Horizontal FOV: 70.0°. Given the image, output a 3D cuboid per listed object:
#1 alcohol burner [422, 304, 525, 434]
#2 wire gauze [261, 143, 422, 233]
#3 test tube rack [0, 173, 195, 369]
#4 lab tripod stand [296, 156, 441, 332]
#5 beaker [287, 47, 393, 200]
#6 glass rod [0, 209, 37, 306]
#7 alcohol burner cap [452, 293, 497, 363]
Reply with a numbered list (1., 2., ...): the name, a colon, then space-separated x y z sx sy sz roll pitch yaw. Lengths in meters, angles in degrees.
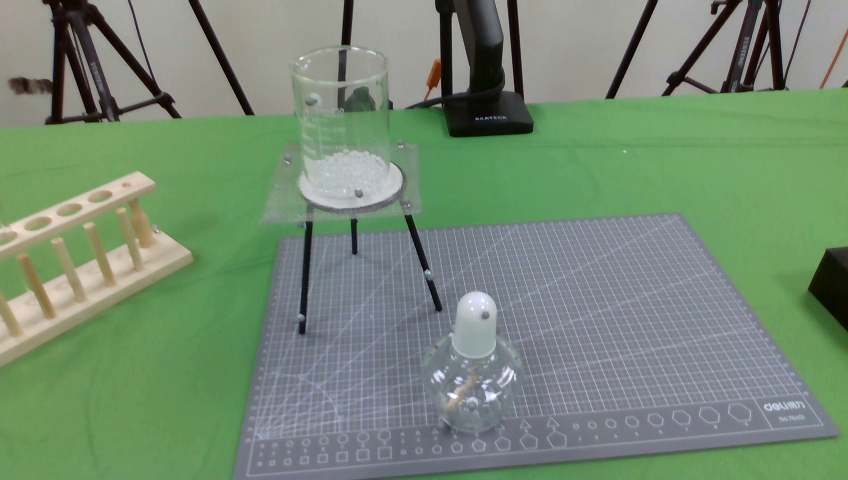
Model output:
1. alcohol burner: 0.037 0.087 0.443 0.078 0.120 0.077 0 39 0
2. wire gauze: -0.064 -0.049 0.498 0.121 0.011 0.124 -2 39 -2
3. test tube rack: -0.343 0.033 0.550 0.066 0.086 0.242 27 45 32
4. lab tripod stand: -0.055 0.002 0.541 0.148 0.132 0.147 1 36 0
5. beaker: -0.065 -0.089 0.471 0.083 0.101 0.074 21 42 24
6. glass rod: -0.366 -0.025 0.518 0.008 0.201 0.008 0 30 0
7. alcohol burner cap: 0.037 0.058 0.421 0.034 0.048 0.033 1 39 -1
